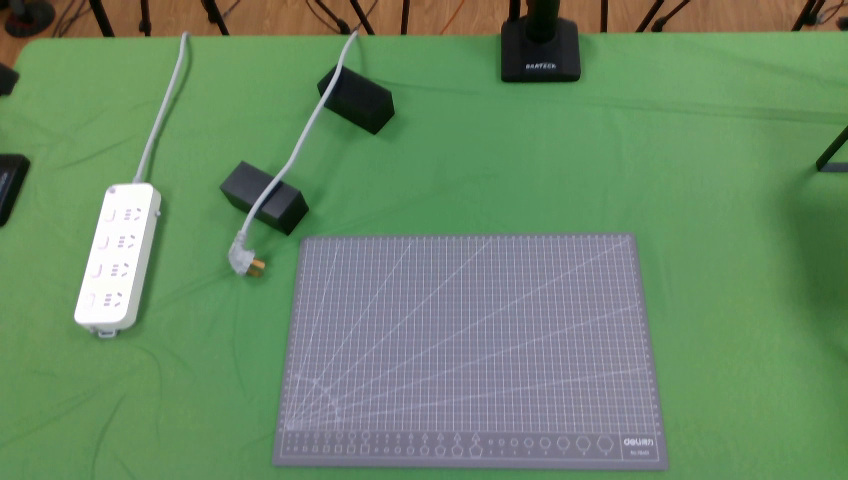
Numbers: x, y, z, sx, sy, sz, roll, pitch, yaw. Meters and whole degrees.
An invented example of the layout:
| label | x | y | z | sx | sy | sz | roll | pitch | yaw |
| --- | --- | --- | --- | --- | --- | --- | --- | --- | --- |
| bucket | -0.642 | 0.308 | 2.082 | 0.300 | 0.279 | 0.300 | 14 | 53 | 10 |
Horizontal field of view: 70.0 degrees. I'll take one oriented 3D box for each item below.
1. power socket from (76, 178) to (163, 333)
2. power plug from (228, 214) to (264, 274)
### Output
| label | x | y | z | sx | sy | sz | roll | pitch | yaw |
| --- | --- | --- | --- | --- | --- | --- | --- | --- | --- |
| power socket | -0.409 | 0.013 | 0.821 | 0.072 | 0.033 | 0.225 | -1 | 64 | 2 |
| power plug | -0.227 | 0.011 | 0.796 | 0.053 | 0.035 | 0.072 | 29 | 106 | -22 |
